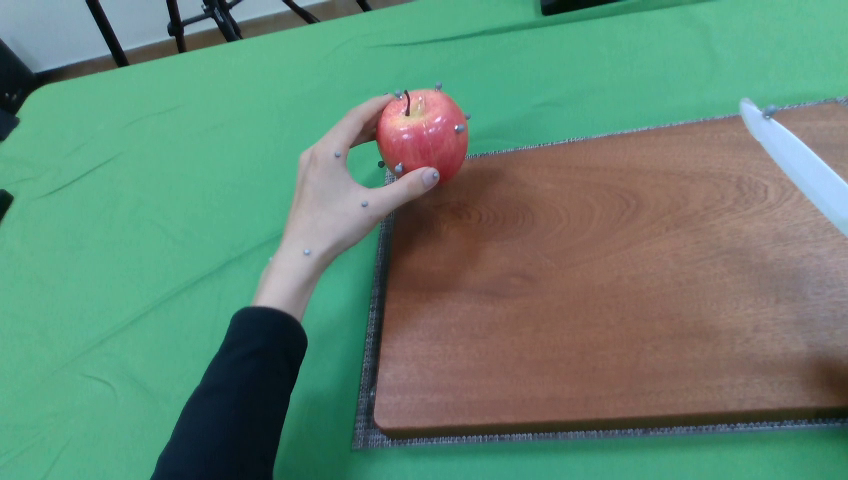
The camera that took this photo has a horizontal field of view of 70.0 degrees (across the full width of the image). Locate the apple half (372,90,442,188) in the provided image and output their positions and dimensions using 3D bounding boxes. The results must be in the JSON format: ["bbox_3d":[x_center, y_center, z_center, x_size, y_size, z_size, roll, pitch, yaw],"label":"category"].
[{"bbox_3d":[-0.017,-0.084,0.530,0.053,0.075,0.080,-14,54,11],"label":"apple half"}]

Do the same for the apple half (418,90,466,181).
[{"bbox_3d":[0.021,-0.093,0.524,0.033,0.082,0.080,-14,51,11],"label":"apple half"}]

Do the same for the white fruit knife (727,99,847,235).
[{"bbox_3d":[0.254,-0.009,0.352,0.016,0.027,0.206,-30,73,-38],"label":"white fruit knife"}]
